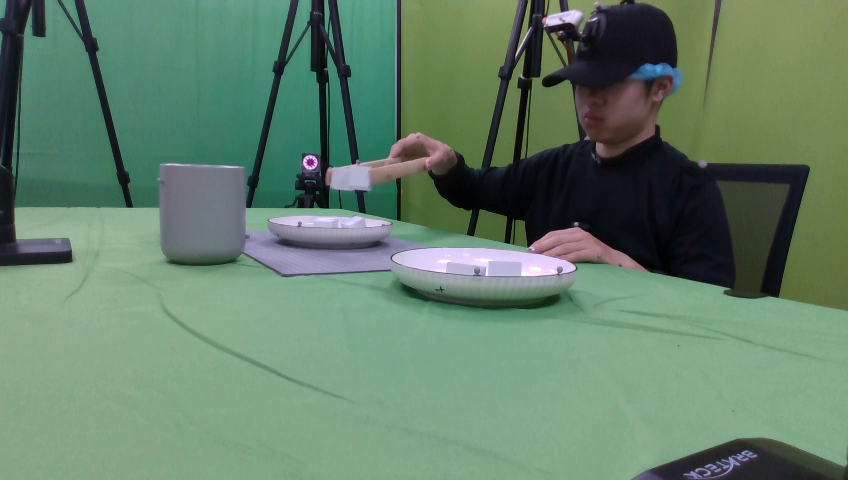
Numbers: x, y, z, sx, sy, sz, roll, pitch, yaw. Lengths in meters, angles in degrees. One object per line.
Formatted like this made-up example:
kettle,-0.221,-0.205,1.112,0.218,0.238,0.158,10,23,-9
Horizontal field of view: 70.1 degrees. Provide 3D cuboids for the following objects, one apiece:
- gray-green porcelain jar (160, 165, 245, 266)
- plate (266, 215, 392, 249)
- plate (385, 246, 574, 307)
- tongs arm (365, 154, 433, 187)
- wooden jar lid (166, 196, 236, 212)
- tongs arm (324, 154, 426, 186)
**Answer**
gray-green porcelain jar,-0.291,-0.034,0.799,0.106,0.126,0.106,2,8,0
plate,-0.159,-0.015,1.019,0.209,0.038,0.209,3,7,0
plate,0.060,0.041,0.678,0.208,0.039,0.207,3,7,0
tongs arm,-0.036,-0.130,1.094,0.028,0.028,0.388,-2,11,17
wooden jar lid,-0.369,-0.060,1.001,0.108,0.020,0.108,3,6,0
tongs arm,-0.075,-0.132,1.106,0.050,0.026,0.385,2,12,17
